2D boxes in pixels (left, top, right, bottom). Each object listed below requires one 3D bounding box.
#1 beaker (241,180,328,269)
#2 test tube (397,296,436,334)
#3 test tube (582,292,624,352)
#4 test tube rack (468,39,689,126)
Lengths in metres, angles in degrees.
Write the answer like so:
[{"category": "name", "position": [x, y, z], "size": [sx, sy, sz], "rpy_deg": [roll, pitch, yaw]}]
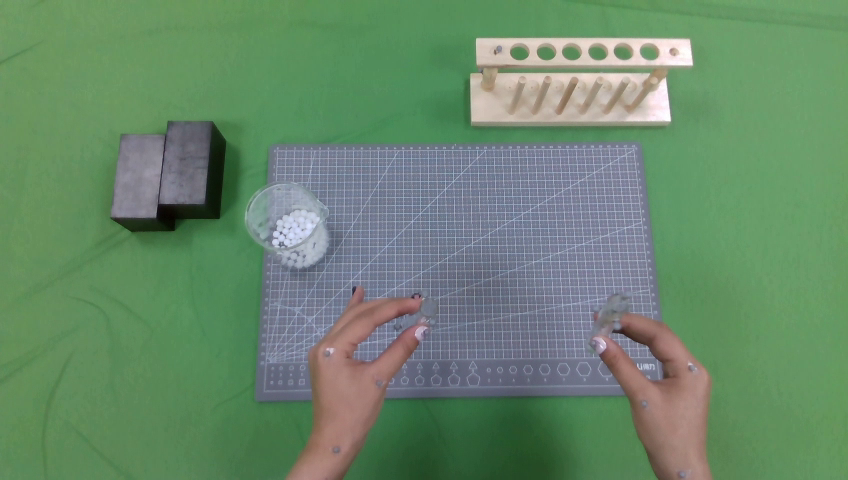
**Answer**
[{"category": "beaker", "position": [-0.142, -0.013, 0.651], "size": [0.084, 0.100, 0.073], "rpy_deg": [-8, 75, -4]}, {"category": "test tube", "position": [-0.009, 0.069, 0.536], "size": [0.017, 0.151, 0.017], "rpy_deg": [2, 75, -8]}, {"category": "test tube", "position": [0.148, 0.073, 0.511], "size": [0.017, 0.151, 0.017], "rpy_deg": [-3, 68, 7]}, {"category": "test tube rack", "position": [0.176, -0.184, 0.716], "size": [0.242, 0.085, 0.066], "rpy_deg": [0, 75, -1]}]
